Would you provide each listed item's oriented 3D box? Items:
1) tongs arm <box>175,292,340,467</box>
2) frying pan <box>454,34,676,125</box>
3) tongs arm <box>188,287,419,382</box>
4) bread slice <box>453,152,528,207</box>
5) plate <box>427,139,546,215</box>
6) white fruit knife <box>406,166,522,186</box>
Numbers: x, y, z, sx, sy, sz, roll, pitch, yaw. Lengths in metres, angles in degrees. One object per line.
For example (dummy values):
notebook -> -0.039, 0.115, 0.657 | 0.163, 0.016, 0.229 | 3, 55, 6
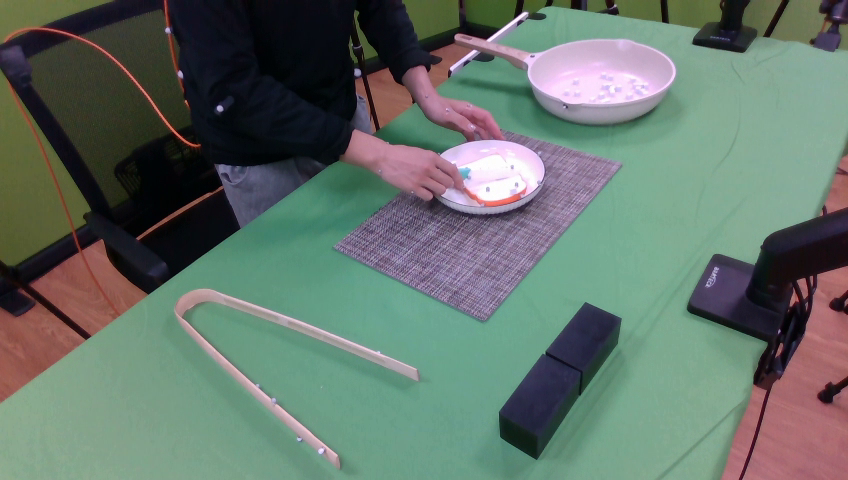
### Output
tongs arm -> -0.225, 0.168, 0.793 | 0.381, 0.026, 0.051 | 25, 49, 33
frying pan -> 0.277, -0.370, 1.295 | 0.485, 0.103, 0.307 | 26, 49, 22
tongs arm -> -0.177, 0.127, 0.842 | 0.385, 0.028, 0.028 | 15, 48, 24
bread slice -> 0.117, -0.104, 1.057 | 0.107, 0.018, 0.133 | -24, 42, -17
plate -> 0.109, -0.107, 1.059 | 0.207, 0.039, 0.206 | -4, 41, 4
white fruit knife -> 0.071, -0.112, 1.023 | 0.208, 0.027, 0.016 | -5, 16, -16
